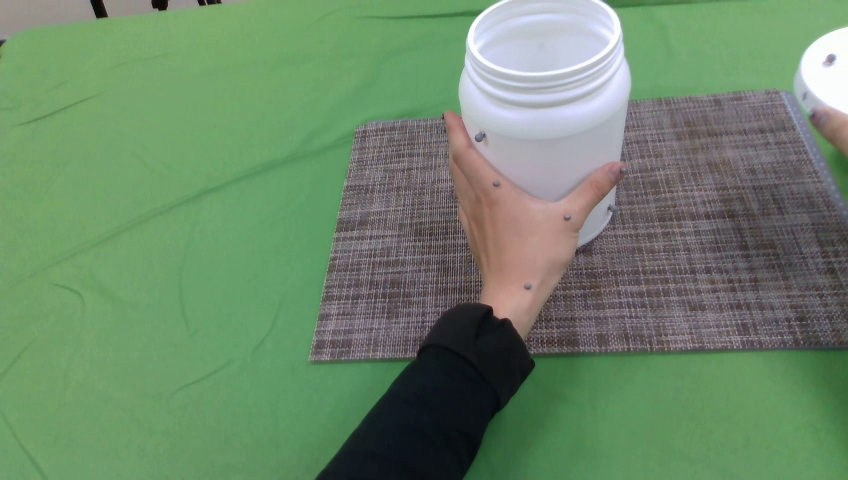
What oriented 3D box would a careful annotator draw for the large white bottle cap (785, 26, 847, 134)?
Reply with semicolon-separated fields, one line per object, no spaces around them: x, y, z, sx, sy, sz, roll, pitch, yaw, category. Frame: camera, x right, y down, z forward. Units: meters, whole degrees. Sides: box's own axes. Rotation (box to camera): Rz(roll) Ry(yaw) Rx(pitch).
0.336;-0.120;0.452;0.114;0.018;0.113;-7;52;9;large white bottle cap

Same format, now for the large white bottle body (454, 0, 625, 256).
0.094;-0.090;0.501;0.130;0.186;0.129;-5;50;6;large white bottle body
